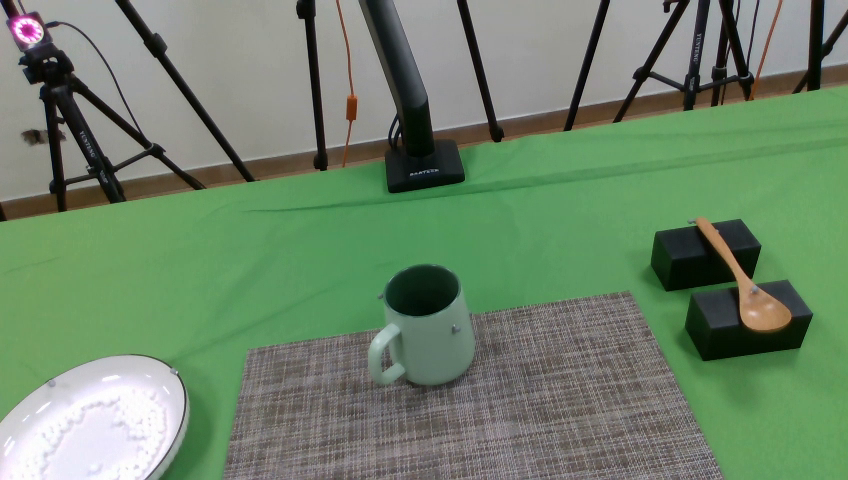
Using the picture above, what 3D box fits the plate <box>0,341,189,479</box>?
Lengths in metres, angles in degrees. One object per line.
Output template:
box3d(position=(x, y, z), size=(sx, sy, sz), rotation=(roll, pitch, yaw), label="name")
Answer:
box3d(position=(-0.339, 0.194, 0.615), size=(0.209, 0.038, 0.207), rotation=(-5, 40, 5), label="plate")

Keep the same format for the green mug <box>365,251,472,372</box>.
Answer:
box3d(position=(-0.010, 0.085, 0.621), size=(0.091, 0.106, 0.125), rotation=(27, 52, 35), label="green mug")

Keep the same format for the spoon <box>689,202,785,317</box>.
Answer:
box3d(position=(0.317, 0.013, 0.632), size=(0.041, 0.022, 0.191), rotation=(-20, 38, 14), label="spoon")
